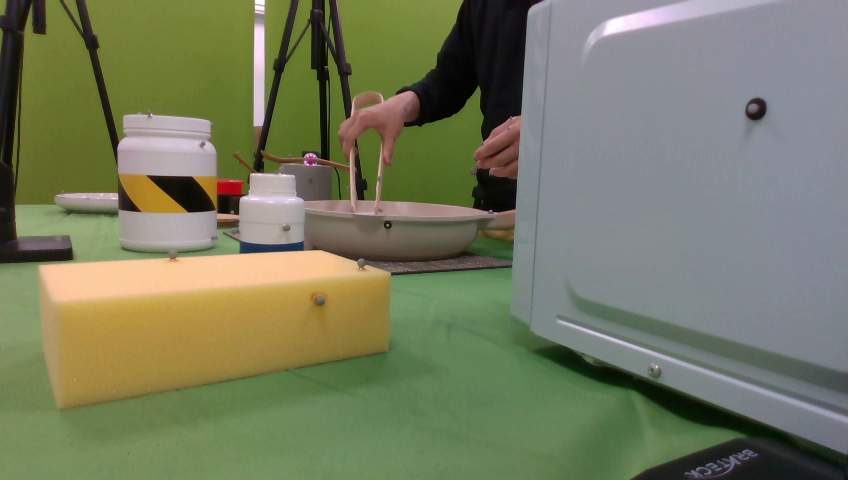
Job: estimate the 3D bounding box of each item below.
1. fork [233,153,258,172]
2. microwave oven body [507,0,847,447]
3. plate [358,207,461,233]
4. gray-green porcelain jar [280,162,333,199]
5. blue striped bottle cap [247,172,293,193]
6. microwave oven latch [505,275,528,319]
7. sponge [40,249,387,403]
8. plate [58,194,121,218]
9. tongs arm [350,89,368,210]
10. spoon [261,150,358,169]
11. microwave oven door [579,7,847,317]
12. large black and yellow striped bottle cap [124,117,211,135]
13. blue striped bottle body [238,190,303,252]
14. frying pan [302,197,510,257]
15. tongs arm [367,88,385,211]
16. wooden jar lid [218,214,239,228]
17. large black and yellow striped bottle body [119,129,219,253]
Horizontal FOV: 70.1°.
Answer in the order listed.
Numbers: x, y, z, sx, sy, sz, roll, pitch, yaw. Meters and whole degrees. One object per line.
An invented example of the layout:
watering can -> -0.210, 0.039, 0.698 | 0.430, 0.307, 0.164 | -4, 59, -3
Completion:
fork -> -0.396, -0.143, 1.486 | 0.028, 0.018, 0.208 | 21, -25, 45
microwave oven body -> 0.331, -0.042, 0.425 | 0.444, 0.260, 0.324 | -2, 8, -31
plate -> -0.030, -0.041, 1.213 | 0.208, 0.039, 0.207 | 3, 7, 0
gray-green porcelain jar -> -0.238, -0.092, 1.221 | 0.106, 0.126, 0.106 | 2, 7, 0
blue striped bottle cap -> -0.152, -0.057, 0.598 | 0.044, 0.020, 0.044 | 3, 7, 0
microwave oven latch -> 0.100, 0.041, 0.471 | 0.079, 0.029, 0.030 | -1, 7, -28
sponge -> -0.142, 0.047, 0.420 | 0.208, 0.061, 0.117 | -3, 8, -36
plate -> -0.671, -0.074, 1.310 | 0.209, 0.038, 0.209 | 2, 8, 0
tongs arm -> -0.116, -0.167, 1.082 | 0.028, 0.028, 0.386 | -11, 41, 5
spoon -> -0.229, -0.161, 1.222 | 0.194, 0.021, 0.041 | 4, 4, -16
microwave oven door -> 0.294, -0.067, 0.570 | 0.358, 0.243, 0.039 | -3, 9, -31
large black and yellow striped bottle cap -> -0.366, -0.163, 0.866 | 0.115, 0.019, 0.115 | 3, 7, 0
blue striped bottle body -> -0.153, -0.007, 0.606 | 0.063, 0.120, 0.063 | 2, 7, 0
frying pan -> 0.051, -0.035, 0.915 | 0.487, 0.102, 0.307 | -5, 7, 11
tongs arm -> -0.094, -0.170, 1.082 | 0.051, 0.026, 0.384 | -5, 42, 6
wooden jar lid -> -0.404, -0.037, 1.169 | 0.108, 0.020, 0.108 | 3, 7, 0
large black and yellow striped bottle body -> -0.367, -0.080, 0.876 | 0.131, 0.184, 0.130 | 1, 7, 0
